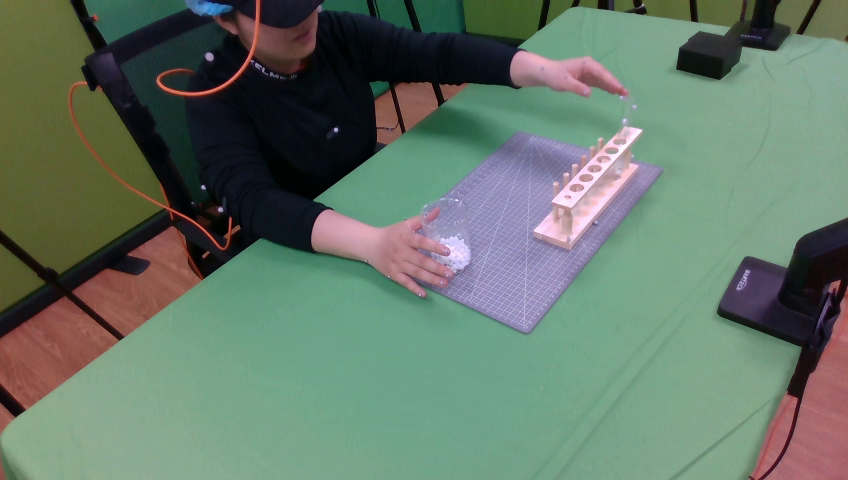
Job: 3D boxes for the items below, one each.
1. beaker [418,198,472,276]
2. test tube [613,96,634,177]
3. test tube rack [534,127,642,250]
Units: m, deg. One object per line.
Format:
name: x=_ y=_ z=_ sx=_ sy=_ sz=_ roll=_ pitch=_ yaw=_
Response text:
beaker: x=0.037 y=-0.004 z=0.916 sx=0.073 sy=0.101 sz=0.084 roll=24 pitch=49 yaw=33
test tube: x=0.324 y=-0.166 z=0.987 sx=0.017 sy=0.151 sz=0.017 roll=-4 pitch=42 yaw=4
test tube rack: x=0.271 y=-0.094 z=0.990 sx=0.066 sy=0.085 sz=0.243 roll=23 pitch=49 yaw=33
